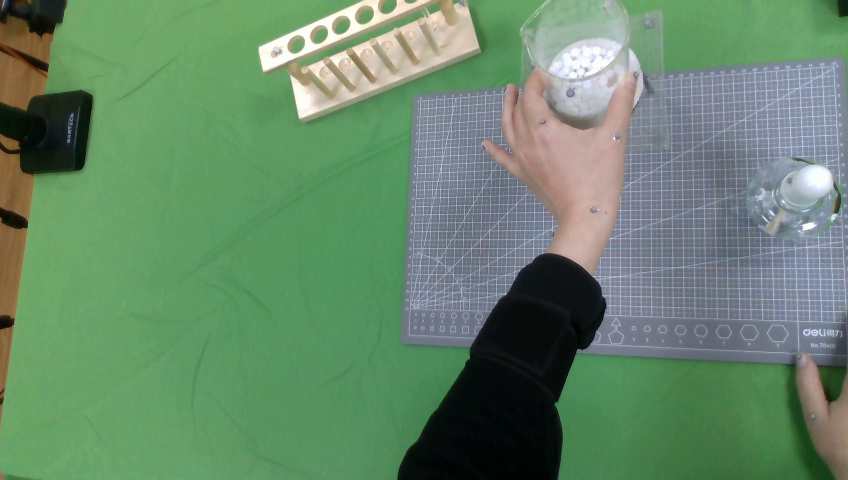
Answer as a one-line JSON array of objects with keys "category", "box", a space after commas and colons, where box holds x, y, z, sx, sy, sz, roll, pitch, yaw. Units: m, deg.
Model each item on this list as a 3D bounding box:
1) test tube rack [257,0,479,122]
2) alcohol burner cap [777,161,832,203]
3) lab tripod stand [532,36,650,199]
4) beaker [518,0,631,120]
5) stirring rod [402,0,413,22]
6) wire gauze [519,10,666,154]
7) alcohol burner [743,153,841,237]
[{"category": "test tube rack", "box": [-0.066, -0.225, 0.718, 0.242, 0.086, 0.066, -18, 76, 15]}, {"category": "alcohol burner cap", "box": [0.318, -0.050, 0.504, 0.034, 0.048, 0.034, -2, 84, 15]}, {"category": "lab tripod stand", "box": [0.166, -0.125, 0.595, 0.148, 0.132, 0.148, -2, 81, 17]}, {"category": "beaker", "box": [0.124, -0.145, 0.490, 0.083, 0.101, 0.074, 15, 87, 21]}, {"category": "stirring rod", "box": [-0.036, -0.287, 0.635, 0.006, 0.177, 0.014, -16, 70, 9]}, {"category": "wire gauze", "box": [0.146, -0.136, 0.533, 0.124, 0.011, 0.121, -1, 84, 17]}, {"category": "alcohol burner", "box": [0.330, -0.044, 0.537, 0.077, 0.120, 0.077, -3, 80, 17]}]
